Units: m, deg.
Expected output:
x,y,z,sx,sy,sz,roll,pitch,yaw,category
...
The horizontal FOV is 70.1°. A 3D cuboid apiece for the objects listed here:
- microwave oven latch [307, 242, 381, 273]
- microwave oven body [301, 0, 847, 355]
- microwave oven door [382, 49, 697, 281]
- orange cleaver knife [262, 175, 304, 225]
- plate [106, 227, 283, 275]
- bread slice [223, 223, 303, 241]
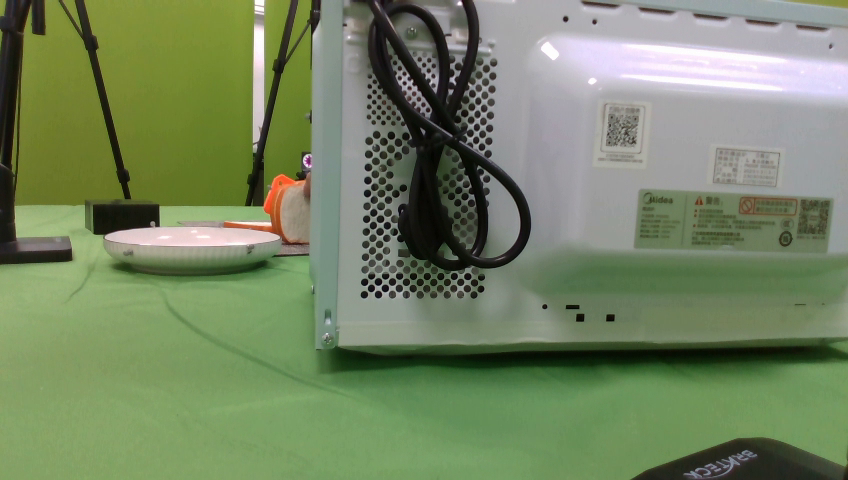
x,y,z,sx,sy,sz,roll,pitch,yaw,category
-0.086,0.019,0.656,0.079,0.029,0.030,2,7,-9,microwave oven latch
0.120,-0.053,0.535,0.443,0.260,0.325,2,7,-11,microwave oven body
0.135,-0.077,0.685,0.357,0.243,0.039,1,8,-12,microwave oven door
-0.181,-0.061,1.042,0.212,0.077,0.012,7,0,-45,orange cleaver knife
-0.288,0.013,0.772,0.208,0.039,0.207,2,7,0,plate
-0.275,-0.013,1.041,0.135,0.018,0.106,8,-3,-42,bread slice
